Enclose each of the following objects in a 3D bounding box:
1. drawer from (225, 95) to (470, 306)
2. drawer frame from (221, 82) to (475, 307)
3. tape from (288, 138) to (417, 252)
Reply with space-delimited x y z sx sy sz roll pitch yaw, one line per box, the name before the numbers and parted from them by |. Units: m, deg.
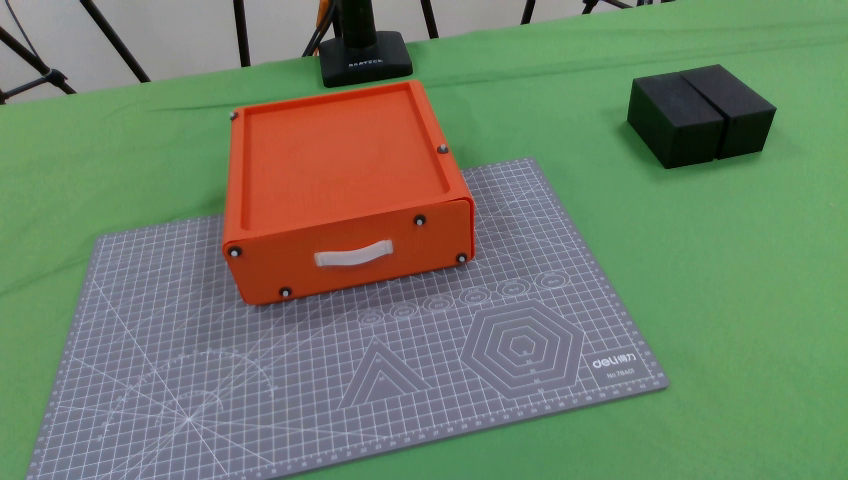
drawer | -0.075 -0.049 0.568 0.195 0.074 0.209 -12 41 -5
drawer frame | -0.076 -0.052 0.568 0.202 0.083 0.211 -12 41 -6
tape | -0.067 -0.045 0.570 0.117 0.053 0.115 -3 42 3
